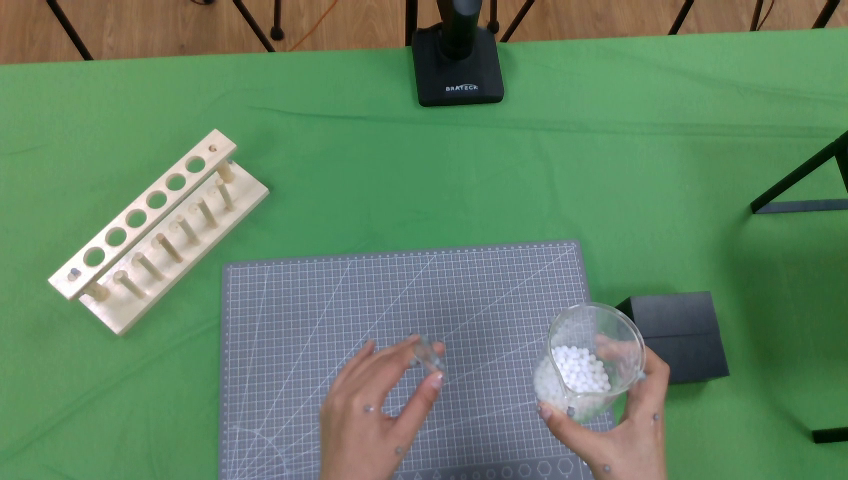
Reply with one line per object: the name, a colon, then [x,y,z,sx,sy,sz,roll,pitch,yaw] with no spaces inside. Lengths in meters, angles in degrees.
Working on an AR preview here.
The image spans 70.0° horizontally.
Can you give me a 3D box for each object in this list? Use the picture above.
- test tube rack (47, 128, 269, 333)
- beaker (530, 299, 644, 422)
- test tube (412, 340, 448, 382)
test tube rack: [-0.297,-0.012,0.705,0.066,0.085,0.242,38,71,10]
beaker: [0.127,0.106,0.498,0.073,0.101,0.083,30,64,16]
test tube: [0.007,0.105,0.514,0.017,0.151,0.017,-2,71,6]
